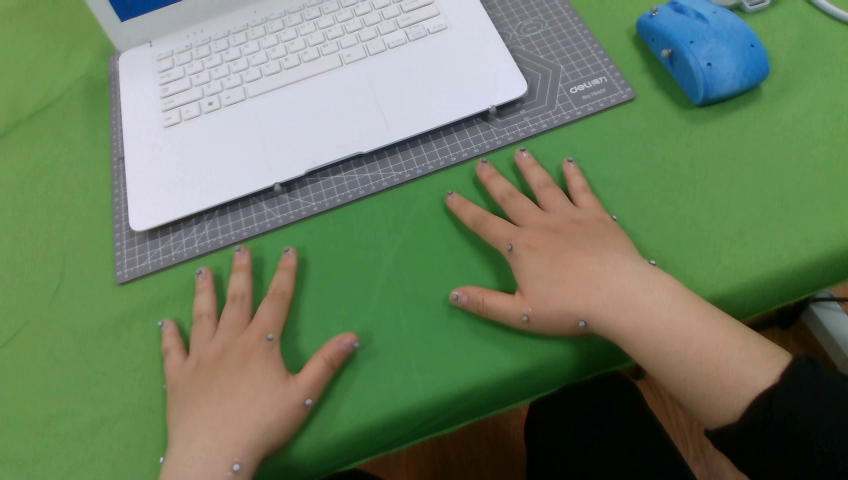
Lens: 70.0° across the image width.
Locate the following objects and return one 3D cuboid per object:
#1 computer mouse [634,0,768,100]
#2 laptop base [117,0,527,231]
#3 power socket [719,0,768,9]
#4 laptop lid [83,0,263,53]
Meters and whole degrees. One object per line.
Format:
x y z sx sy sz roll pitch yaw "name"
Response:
0.224 -0.166 0.495 0.063 0.041 0.116 -21 53 1 "computer mouse"
-0.110 -0.154 0.565 0.354 0.023 0.233 -20 61 -2 "laptop base"
0.260 -0.302 0.573 0.072 0.033 0.224 -17 58 1 "power socket"
-0.173 -0.327 0.543 0.357 0.244 0.013 -21 45 0 "laptop lid"
